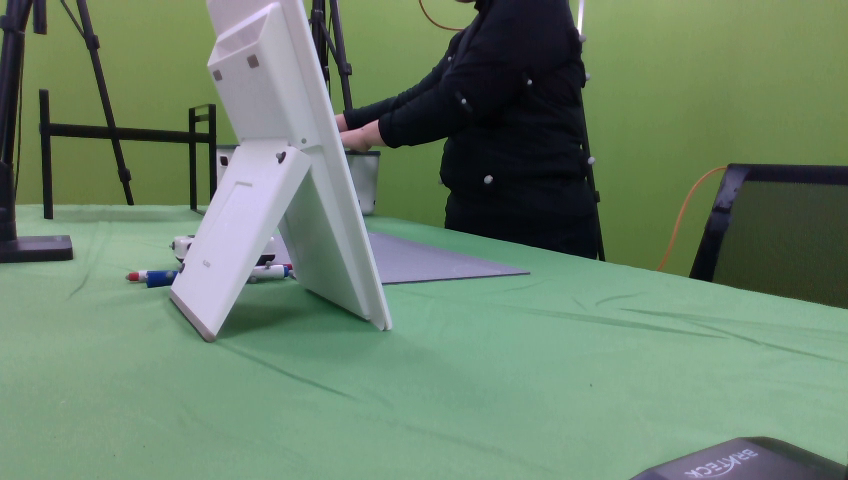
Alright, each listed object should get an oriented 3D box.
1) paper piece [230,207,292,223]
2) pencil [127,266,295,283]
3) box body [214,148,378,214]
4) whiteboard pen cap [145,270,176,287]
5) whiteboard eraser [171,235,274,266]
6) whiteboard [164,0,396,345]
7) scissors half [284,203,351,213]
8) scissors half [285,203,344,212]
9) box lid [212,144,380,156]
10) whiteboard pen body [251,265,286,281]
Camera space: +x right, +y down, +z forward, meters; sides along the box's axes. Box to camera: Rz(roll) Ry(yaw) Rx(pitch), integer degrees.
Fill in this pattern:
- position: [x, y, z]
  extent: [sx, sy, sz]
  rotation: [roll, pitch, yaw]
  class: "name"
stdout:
- position: [-0.395, -0.062, 1.461]
  extent: [0.139, 0.008, 0.135]
  rotation: [13, -4, -22]
  class: "paper piece"
- position: [-0.231, 0.037, 0.690]
  extent: [0.195, 0.012, 0.012]
  rotation: [-2, 9, -34]
  class: "pencil"
- position: [-0.328, -0.154, 1.543]
  extent: [0.366, 0.160, 0.253]
  rotation: [-2, 9, -32]
  class: "box body"
- position: [-0.271, 0.039, 0.627]
  extent: [0.033, 0.018, 0.018]
  rotation: [-3, 10, -33]
  class: "whiteboard pen cap"
- position: [-0.248, 0.014, 0.747]
  extent: [0.113, 0.042, 0.055]
  rotation: [-1, 9, -32]
  class: "whiteboard eraser"
- position: [-0.172, -0.053, 0.511]
  extent: [0.144, 0.305, 0.216]
  rotation: [-23, 20, -26]
  class: "whiteboard"
- position: [-0.268, -0.079, 1.535]
  extent: [0.176, 0.013, 0.040]
  rotation: [-7, 12, -23]
  class: "scissors half"
- position: [-0.280, -0.081, 1.552]
  extent: [0.040, 0.013, 0.176]
  rotation: [1, 9, 45]
  class: "scissors half"
- position: [-0.326, -0.227, 1.533]
  extent: [0.373, 0.015, 0.262]
  rotation: [-2, 9, -32]
  class: "box lid"
- position: [-0.220, 0.039, 0.656]
  extent: [0.141, 0.017, 0.017]
  rotation: [-2, 9, -30]
  class: "whiteboard pen body"
